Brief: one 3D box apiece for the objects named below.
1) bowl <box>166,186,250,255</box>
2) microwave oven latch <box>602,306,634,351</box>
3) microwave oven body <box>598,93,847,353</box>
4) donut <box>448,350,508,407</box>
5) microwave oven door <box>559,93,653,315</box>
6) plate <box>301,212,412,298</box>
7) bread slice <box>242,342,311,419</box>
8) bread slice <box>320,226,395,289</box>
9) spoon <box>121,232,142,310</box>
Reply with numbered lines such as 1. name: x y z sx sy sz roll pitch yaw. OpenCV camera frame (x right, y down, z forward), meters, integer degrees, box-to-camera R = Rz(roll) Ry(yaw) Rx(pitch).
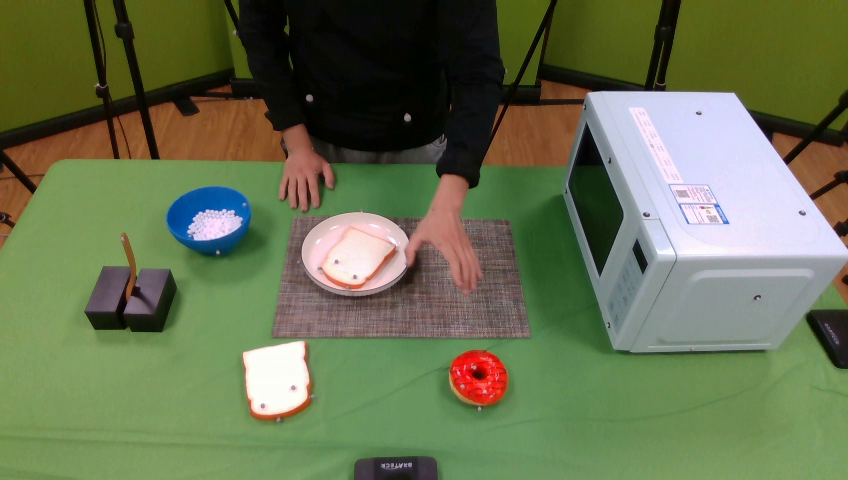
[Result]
1. bowl: -0.403 -0.024 1.154 0.151 0.077 0.150 2 46 -2
2. microwave oven latch: 0.332 0.153 1.044 0.030 0.029 0.078 0 45 -4
3. microwave oven body: 0.475 -0.041 1.109 0.326 0.261 0.438 -1 45 -4
4. donut: 0.087 0.223 0.977 0.099 0.048 0.098 4 46 -4
5. microwave oven door: 0.327 -0.074 1.123 0.039 0.245 0.353 -1 46 -5
6. plate: -0.127 0.031 1.145 0.208 0.039 0.206 2 46 -2
7. bread slice: -0.234 0.223 0.970 0.105 0.019 0.130 -10 46 -13
8. bread slice: -0.129 0.036 1.140 0.107 0.018 0.134 19 48 14
9. spoon: -0.479 0.051 0.994 0.022 0.194 0.041 13 46 -11
